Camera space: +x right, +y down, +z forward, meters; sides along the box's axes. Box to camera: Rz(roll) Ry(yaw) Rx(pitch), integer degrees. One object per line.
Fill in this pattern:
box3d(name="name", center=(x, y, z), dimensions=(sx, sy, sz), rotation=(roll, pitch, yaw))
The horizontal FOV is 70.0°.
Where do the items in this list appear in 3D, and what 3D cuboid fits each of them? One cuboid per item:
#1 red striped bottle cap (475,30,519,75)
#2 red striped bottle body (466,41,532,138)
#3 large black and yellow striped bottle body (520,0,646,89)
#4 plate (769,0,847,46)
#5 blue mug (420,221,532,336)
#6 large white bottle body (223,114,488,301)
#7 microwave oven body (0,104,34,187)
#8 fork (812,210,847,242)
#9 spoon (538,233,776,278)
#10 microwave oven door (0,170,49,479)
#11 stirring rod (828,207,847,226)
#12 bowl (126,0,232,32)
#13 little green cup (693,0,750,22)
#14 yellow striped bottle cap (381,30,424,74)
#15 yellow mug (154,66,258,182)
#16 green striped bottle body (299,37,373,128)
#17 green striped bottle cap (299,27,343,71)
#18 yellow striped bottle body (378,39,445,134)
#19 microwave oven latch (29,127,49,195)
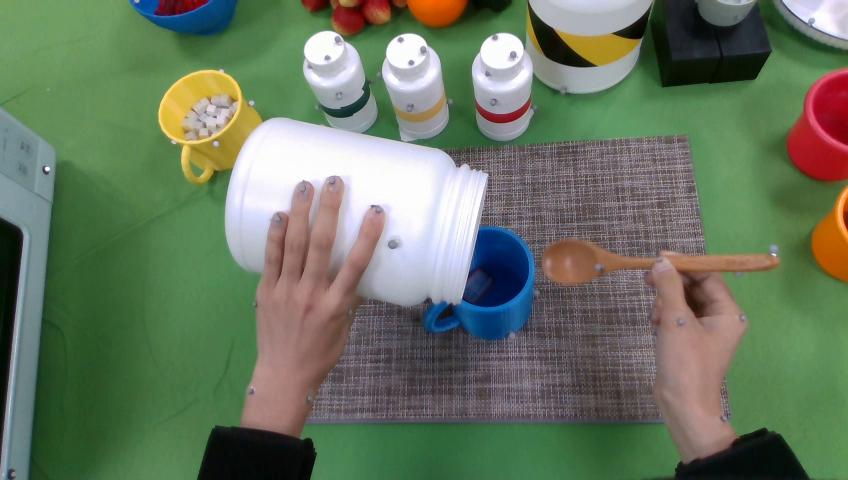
box3d(name="red striped bottle cap", center=(0.072, -0.187, 0.602), dimensions=(0.044, 0.018, 0.044), rotation=(-1, 68, 3))
box3d(name="red striped bottle body", center=(0.081, -0.167, 0.650), dimensions=(0.063, 0.121, 0.062), rotation=(-5, 65, 12))
box3d(name="large black and yellow striped bottle body", center=(0.168, -0.263, 0.639), dimensions=(0.130, 0.185, 0.130), rotation=(-3, 69, 7))
box3d(name="plate", center=(0.489, -0.302, 0.689), dimensions=(0.209, 0.038, 0.207), rotation=(-2, 70, 7))
box3d(name="blue mug", center=(0.047, 0.049, 0.577), dimensions=(0.116, 0.107, 0.081), rotation=(-33, 67, -5))
box3d(name="large white bottle body", center=(-0.049, -0.023, 0.491), dimensions=(0.184, 0.131, 0.130), rotation=(11, 71, 6))
box3d(name="microwave oven body", center=(-0.599, 0.064, 0.576), dimensions=(0.326, 0.262, 0.438), rotation=(-11, 69, 3))
box3d(name="fork", center=(0.434, 0.008, 0.519), dimensions=(0.028, 0.019, 0.205), rotation=(-40, 25, -6))
box3d(name="spoon", center=(0.178, 0.014, 0.495), dimensions=(0.192, 0.022, 0.041), rotation=(0, 93, 47))
box3d(name="microwave oven door", center=(-0.450, 0.073, 0.547), dimensions=(0.039, 0.245, 0.353), rotation=(-11, 68, 4))
box3d(name="stirring rod", center=(0.405, 0.007, 0.531), dimensions=(0.014, 0.006, 0.175), rotation=(0, 26, 5))
box3d(name="bowl", center=(-0.303, -0.326, 0.785), dimensions=(0.151, 0.077, 0.150), rotation=(-2, 69, 7))
box3d(name="little green cup", center=(0.318, -0.265, 0.643), dimensions=(0.061, 0.039, 0.061), rotation=(-2, 67, 5))
box3d(name="yellow striped bottle cap", center=(-0.022, -0.192, 0.616), dimensions=(0.044, 0.019, 0.044), rotation=(-1, 66, 2))
box3d(name="yellow mug", center=(-0.258, -0.130, 0.711), dimensions=(0.100, 0.064, 0.130), rotation=(7, 71, 10))
box3d(name="green striped bottle body", center=(-0.099, -0.180, 0.679), dimensions=(0.063, 0.120, 0.062), rotation=(-2, 69, 7))
box3d(name="green striped bottle cap", center=(-0.108, -0.199, 0.631), dimensions=(0.044, 0.020, 0.044), rotation=(-2, 68, 5))
box3d(name="yellow striped bottle body", center=(-0.014, -0.173, 0.665), dimensions=(0.063, 0.121, 0.062), rotation=(-3, 68, 8))
box3d(name="microwave oven latch", center=(-0.468, -0.092, 0.720), dimensions=(0.030, 0.030, 0.078), rotation=(-9, 69, 4))
